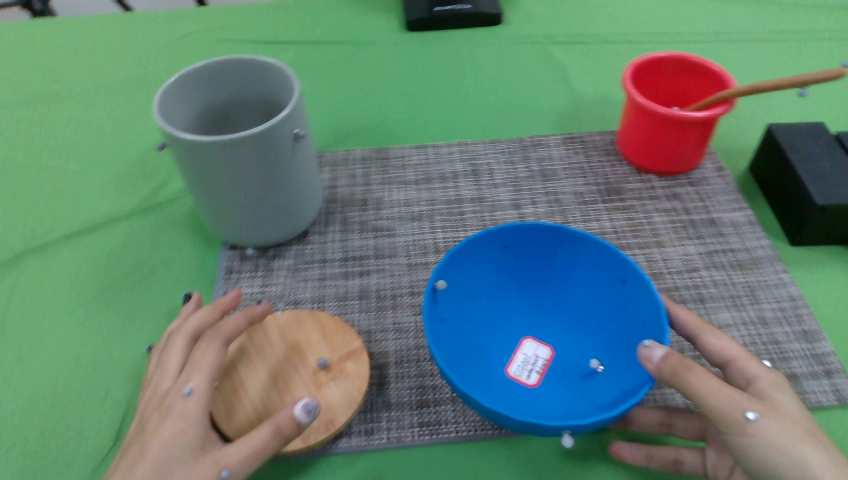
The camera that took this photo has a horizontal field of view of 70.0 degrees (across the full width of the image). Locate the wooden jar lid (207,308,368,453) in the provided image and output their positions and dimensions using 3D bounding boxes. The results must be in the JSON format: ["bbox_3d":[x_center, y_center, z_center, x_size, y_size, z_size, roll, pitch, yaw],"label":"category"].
[{"bbox_3d":[-0.092,0.096,0.417,0.108,0.021,0.107,-1,49,1],"label":"wooden jar lid"}]

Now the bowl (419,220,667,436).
[{"bbox_3d":[0.072,0.067,0.400,0.151,0.077,0.150,0,50,0],"label":"bowl"}]

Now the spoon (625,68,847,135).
[{"bbox_3d":[0.252,-0.116,0.511,0.041,0.193,0.022,-40,105,-26],"label":"spoon"}]

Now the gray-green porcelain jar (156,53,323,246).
[{"bbox_3d":[-0.140,-0.066,0.487,0.106,0.127,0.105,0,49,1],"label":"gray-green porcelain jar"}]
